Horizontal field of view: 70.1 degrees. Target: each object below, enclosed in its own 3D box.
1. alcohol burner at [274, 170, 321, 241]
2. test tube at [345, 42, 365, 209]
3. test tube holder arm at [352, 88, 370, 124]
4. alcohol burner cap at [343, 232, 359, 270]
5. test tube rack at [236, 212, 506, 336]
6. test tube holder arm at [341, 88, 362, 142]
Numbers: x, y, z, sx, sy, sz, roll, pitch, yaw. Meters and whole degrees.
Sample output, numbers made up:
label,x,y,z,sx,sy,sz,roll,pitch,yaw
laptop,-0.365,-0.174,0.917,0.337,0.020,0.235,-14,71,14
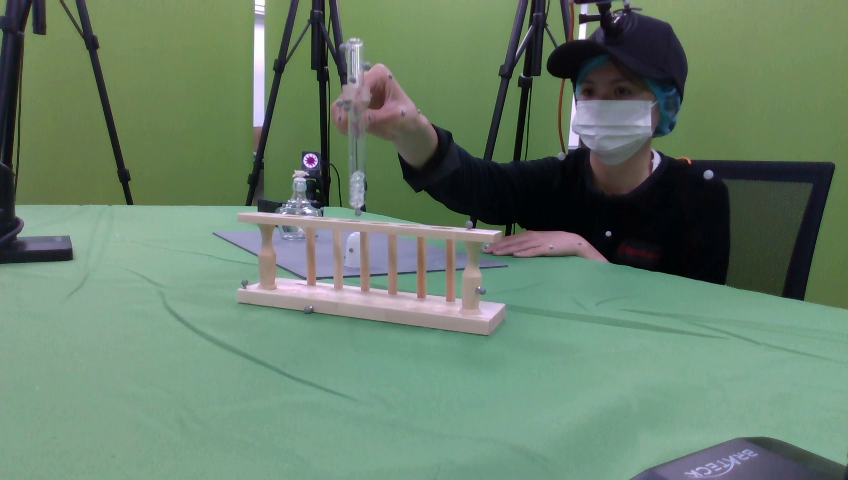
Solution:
label,x,y,z,sx,sy,sz,roll,pitch,yaw
alcohol burner,-0.212,-0.058,1.015,0.078,0.119,0.078,4,5,0
test tube,-0.062,-0.102,0.540,0.017,0.150,0.017,-1,-2,0
test tube holder arm,-0.060,-0.124,0.563,0.010,0.015,0.087,0,-1,-12
alcohol burner cap,-0.087,0.013,0.776,0.034,0.048,0.034,3,7,0
test tube rack,-0.049,0.024,0.552,0.242,0.085,0.067,5,8,18
test tube holder arm,-0.071,-0.122,0.607,0.013,0.015,0.178,1,-2,-4
